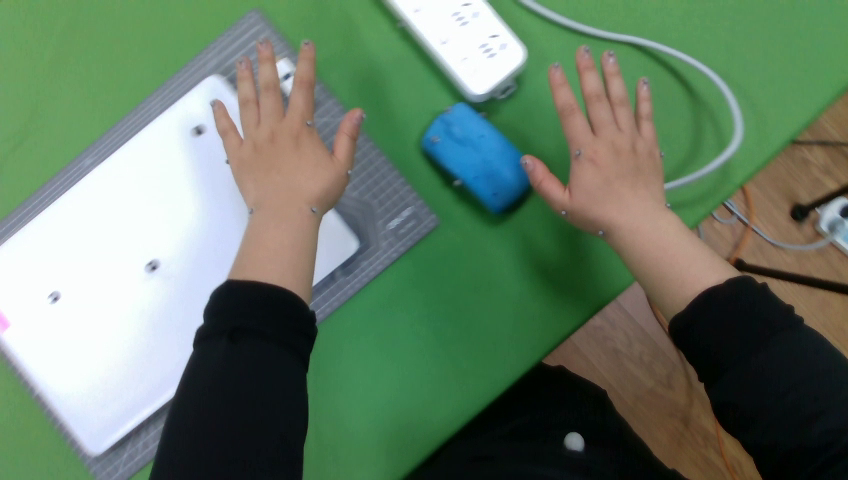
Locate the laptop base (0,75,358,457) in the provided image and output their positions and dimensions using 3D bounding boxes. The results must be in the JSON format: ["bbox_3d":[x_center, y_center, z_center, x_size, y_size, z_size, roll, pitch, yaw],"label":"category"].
[{"bbox_3d":[-0.272,0.025,0.627,0.354,0.023,0.235,-39,90,0],"label":"laptop base"}]

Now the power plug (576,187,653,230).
[{"bbox_3d":[0.182,-0.037,0.588,0.072,0.052,0.035,-32,102,25],"label":"power plug"}]

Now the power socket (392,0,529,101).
[{"bbox_3d":[0.019,-0.241,0.620,0.072,0.032,0.226,-39,86,1],"label":"power socket"}]

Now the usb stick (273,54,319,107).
[{"bbox_3d":[-0.136,-0.168,0.624,0.021,0.027,0.059,-38,85,1],"label":"usb stick"}]

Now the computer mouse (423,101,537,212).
[{"bbox_3d":[0.056,-0.086,0.610,0.063,0.041,0.117,-45,82,2],"label":"computer mouse"}]

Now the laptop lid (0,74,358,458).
[{"bbox_3d":[-0.271,0.026,0.615,0.356,0.013,0.241,-37,89,0],"label":"laptop lid"}]
